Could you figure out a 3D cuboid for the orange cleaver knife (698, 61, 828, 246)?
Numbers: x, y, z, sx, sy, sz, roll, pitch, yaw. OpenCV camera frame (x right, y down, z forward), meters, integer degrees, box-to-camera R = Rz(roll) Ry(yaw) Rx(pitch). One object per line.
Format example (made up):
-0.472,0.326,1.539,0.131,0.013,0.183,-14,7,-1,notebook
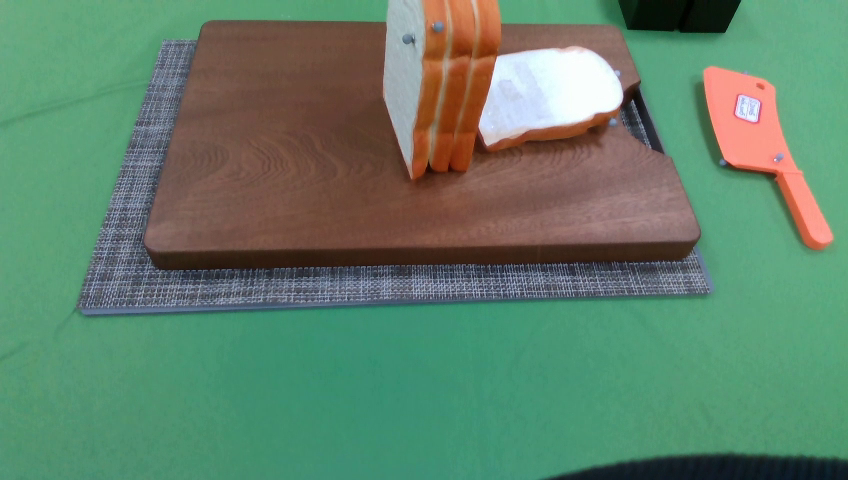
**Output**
0.293,-0.086,0.535,0.077,0.012,0.209,4,56,-4,orange cleaver knife

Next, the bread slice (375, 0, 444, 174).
-0.013,-0.134,0.441,0.018,0.135,0.106,-8,48,-17,bread slice
